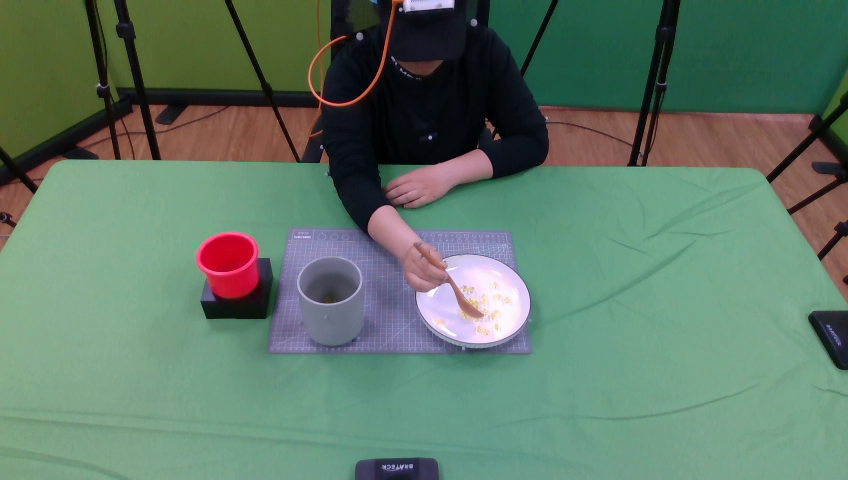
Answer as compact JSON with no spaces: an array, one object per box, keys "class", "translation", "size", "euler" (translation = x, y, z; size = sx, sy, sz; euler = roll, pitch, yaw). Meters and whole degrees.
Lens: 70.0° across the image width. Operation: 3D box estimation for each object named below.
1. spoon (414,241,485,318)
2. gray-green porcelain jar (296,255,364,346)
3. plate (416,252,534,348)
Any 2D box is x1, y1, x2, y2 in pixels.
[{"class":"spoon","translation":[0.042,0.068,1.008],"size":[0.021,0.194,0.041],"euler":[-49,26,-24]},{"class":"gray-green porcelain jar","translation":[-0.153,0.106,1.008],"size":[0.106,0.127,0.105],"euler":[2,46,-2]},{"class":"plate","translation":[0.090,0.109,1.084],"size":[0.208,0.039,0.206],"euler":[2,46,-2]}]
